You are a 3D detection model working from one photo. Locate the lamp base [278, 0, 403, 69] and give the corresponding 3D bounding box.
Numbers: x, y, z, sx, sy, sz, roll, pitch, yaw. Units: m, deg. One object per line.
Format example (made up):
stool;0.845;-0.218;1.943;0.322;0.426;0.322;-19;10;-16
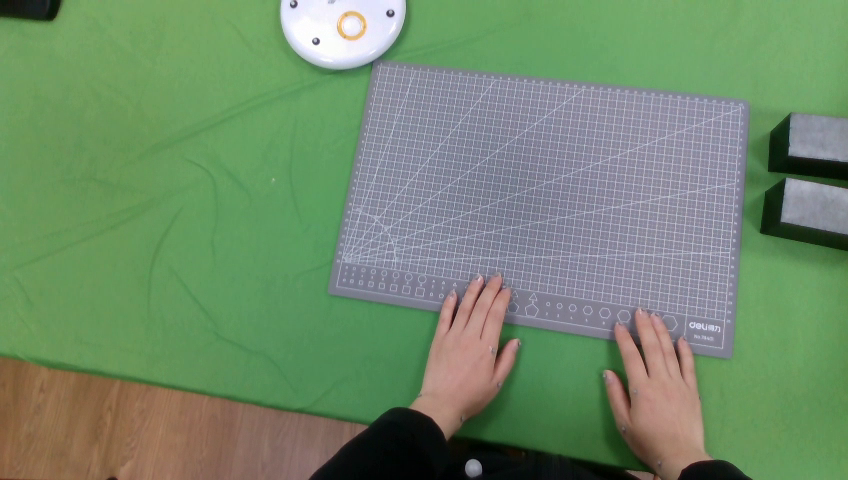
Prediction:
lamp base;-0.121;-0.318;0.697;0.160;0.181;0.178;-33;74;-3
